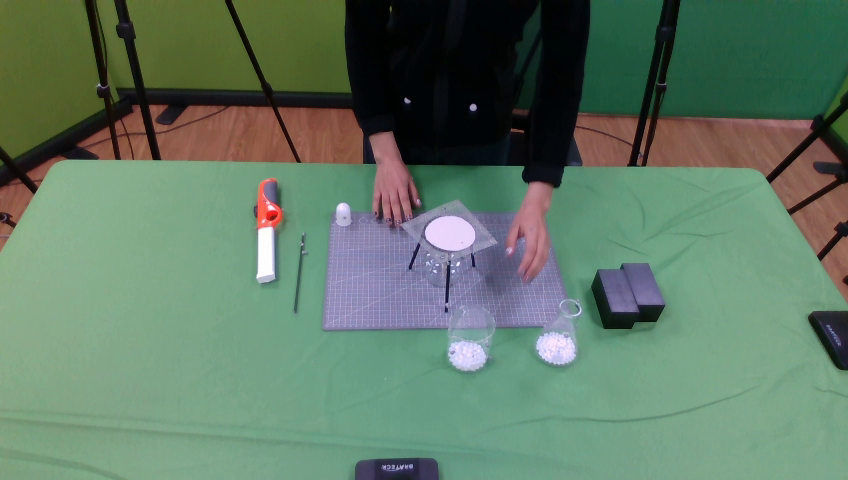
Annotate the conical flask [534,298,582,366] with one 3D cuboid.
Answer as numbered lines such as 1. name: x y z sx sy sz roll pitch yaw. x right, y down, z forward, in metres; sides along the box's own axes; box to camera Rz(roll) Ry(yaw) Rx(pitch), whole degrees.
1. conical flask: 0.229 0.149 1.005 0.075 0.122 0.075 2 46 -2

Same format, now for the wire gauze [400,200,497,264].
1. wire gauze: 0.042 -0.014 1.041 0.125 0.011 0.120 -22 51 -25

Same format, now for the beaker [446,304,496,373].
1. beaker: 0.072 0.166 0.992 0.084 0.101 0.073 -21 51 -22

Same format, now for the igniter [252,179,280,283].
1. igniter: -0.313 -0.027 1.197 0.057 0.025 0.274 -12 47 -1

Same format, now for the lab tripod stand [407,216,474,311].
1. lab tripod stand: 0.039 0.030 1.092 0.148 0.132 0.147 2 44 -2

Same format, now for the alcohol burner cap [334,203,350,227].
1. alcohol burner cap: -0.166 -0.053 1.220 0.034 0.048 0.033 2 46 -2

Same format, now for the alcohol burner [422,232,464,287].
1. alcohol burner: 0.035 0.030 1.107 0.078 0.120 0.077 1 47 -1

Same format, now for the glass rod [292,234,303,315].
1. glass rod: -0.236 0.059 1.133 0.008 0.008 0.198 -1 46 -4
